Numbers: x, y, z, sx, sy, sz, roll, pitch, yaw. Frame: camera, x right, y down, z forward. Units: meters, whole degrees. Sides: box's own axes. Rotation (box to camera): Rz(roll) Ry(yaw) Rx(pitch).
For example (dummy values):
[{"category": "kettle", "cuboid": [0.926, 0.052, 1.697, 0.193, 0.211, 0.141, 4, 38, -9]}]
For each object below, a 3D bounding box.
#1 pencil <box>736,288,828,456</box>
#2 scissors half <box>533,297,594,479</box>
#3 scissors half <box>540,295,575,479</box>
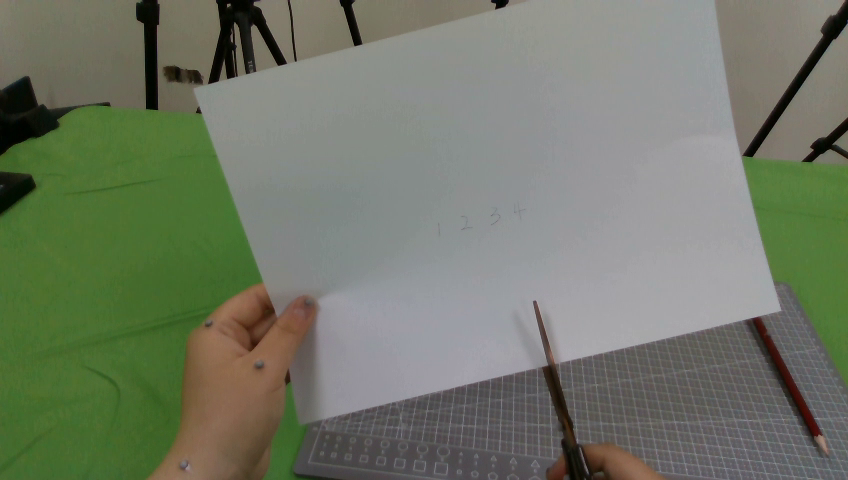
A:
[{"category": "pencil", "cuboid": [0.317, 0.109, 0.543, 0.012, 0.012, 0.192, 4, 37, 2]}, {"category": "scissors half", "cuboid": [0.086, 0.114, 0.346, 0.013, 0.040, 0.173, -12, 66, -3]}, {"category": "scissors half", "cuboid": [0.085, 0.118, 0.369, 0.013, 0.175, 0.040, -11, 9, -8]}]
